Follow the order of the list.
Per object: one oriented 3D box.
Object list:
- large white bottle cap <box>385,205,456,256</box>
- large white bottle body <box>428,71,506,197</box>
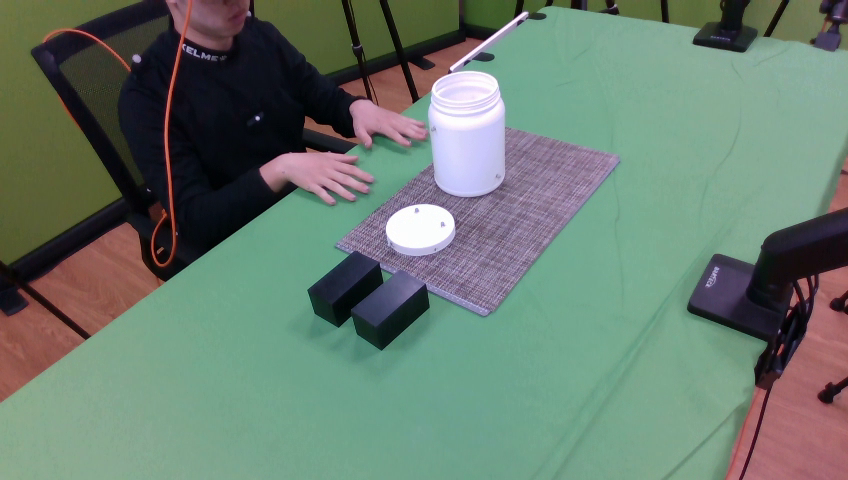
[{"bbox_3d":[-0.006,-0.018,0.987,0.115,0.018,0.114,-4,40,4],"label":"large white bottle cap"},{"bbox_3d":[0.075,-0.181,1.038,0.130,0.185,0.130,-4,41,4],"label":"large white bottle body"}]
